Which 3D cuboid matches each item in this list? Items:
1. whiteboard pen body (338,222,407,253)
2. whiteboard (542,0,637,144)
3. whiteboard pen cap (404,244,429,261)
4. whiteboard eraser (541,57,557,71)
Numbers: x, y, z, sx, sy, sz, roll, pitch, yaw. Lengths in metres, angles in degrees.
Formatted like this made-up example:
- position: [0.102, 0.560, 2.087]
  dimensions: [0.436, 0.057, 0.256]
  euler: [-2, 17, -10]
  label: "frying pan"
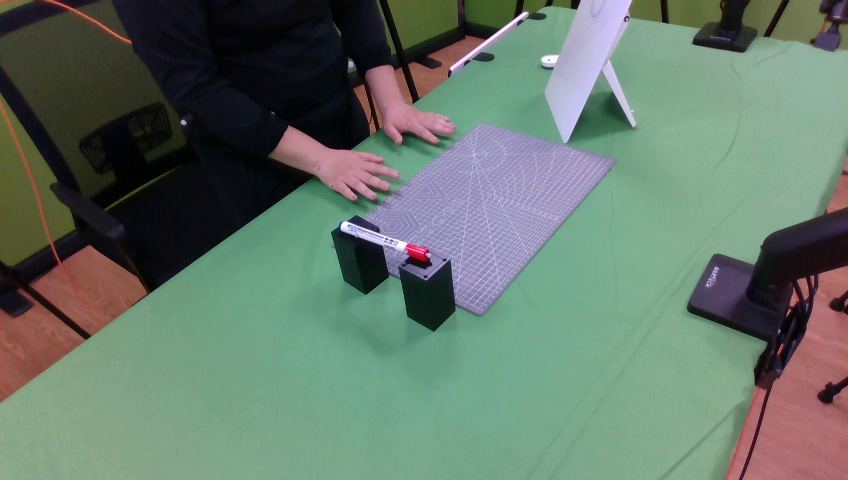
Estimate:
- position: [-0.061, -0.001, 0.828]
  dimensions: [0.139, 0.017, 0.017]
  euler: [18, 46, 28]
  label: "whiteboard pen body"
- position: [0.366, -0.351, 1.160]
  dimensions: [0.144, 0.305, 0.216]
  euler: [10, 39, -10]
  label: "whiteboard"
- position: [-0.010, 0.015, 0.801]
  dimensions: [0.032, 0.017, 0.017]
  euler: [17, 46, 29]
  label: "whiteboard pen cap"
- position: [0.323, -0.412, 1.407]
  dimensions: [0.101, 0.019, 0.041]
  euler: [1, 42, 11]
  label: "whiteboard eraser"
